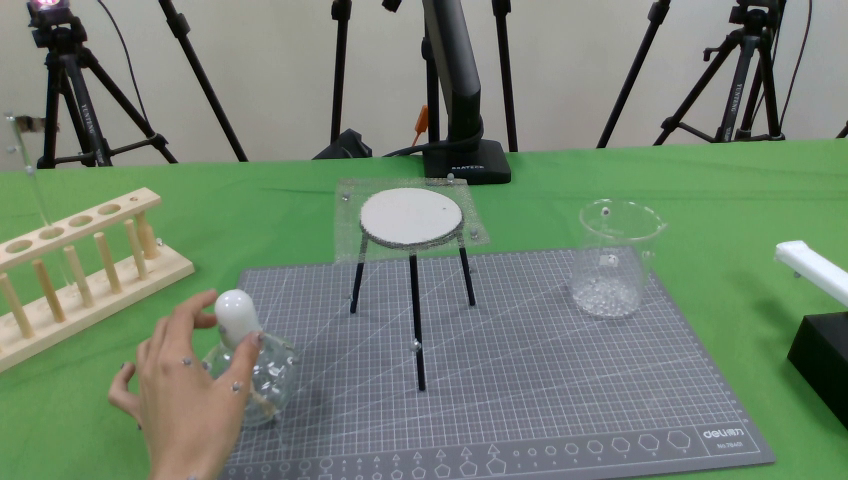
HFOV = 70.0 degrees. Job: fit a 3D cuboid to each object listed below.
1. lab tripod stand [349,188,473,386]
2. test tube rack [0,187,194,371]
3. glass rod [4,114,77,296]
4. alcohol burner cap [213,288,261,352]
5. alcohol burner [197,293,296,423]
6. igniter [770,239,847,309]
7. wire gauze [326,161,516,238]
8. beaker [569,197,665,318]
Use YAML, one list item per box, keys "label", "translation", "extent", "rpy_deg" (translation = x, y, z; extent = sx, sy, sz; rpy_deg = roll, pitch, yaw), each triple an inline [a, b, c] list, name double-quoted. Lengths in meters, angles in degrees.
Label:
- label: "lab tripod stand"
  translation: [-0.009, 0.033, 0.544]
  extent: [0.148, 0.132, 0.147]
  rpy_deg: [1, 35, 0]
- label: "test tube rack"
  translation: [-0.359, 0.039, 0.590]
  extent: [0.066, 0.086, 0.242]
  rpy_deg: [26, 42, 33]
- label: "glass rod"
  translation: [-0.354, -0.023, 0.563]
  extent: [0.008, 0.201, 0.008]
  rpy_deg: [3, 36, -2]
- label: "alcohol burner cap"
  translation: [-0.145, 0.058, 0.462]
  extent: [0.034, 0.048, 0.033]
  rpy_deg: [1, 39, -1]
- label: "alcohol burner"
  translation: [-0.143, 0.088, 0.482]
  extent: [0.078, 0.120, 0.077]
  rpy_deg: [1, 33, 0]
- label: "igniter"
  translation: [0.391, 0.074, 0.493]
  extent: [0.057, 0.025, 0.273]
  rpy_deg: [-8, 31, -10]
- label: "wire gauze"
  translation: [-0.006, -0.034, 0.494]
  extent: [0.125, 0.011, 0.120]
  rpy_deg: [-9, 31, -25]
- label: "beaker"
  translation: [0.184, 0.019, 0.592]
  extent: [0.084, 0.101, 0.073]
  rpy_deg: [1, 34, 2]
